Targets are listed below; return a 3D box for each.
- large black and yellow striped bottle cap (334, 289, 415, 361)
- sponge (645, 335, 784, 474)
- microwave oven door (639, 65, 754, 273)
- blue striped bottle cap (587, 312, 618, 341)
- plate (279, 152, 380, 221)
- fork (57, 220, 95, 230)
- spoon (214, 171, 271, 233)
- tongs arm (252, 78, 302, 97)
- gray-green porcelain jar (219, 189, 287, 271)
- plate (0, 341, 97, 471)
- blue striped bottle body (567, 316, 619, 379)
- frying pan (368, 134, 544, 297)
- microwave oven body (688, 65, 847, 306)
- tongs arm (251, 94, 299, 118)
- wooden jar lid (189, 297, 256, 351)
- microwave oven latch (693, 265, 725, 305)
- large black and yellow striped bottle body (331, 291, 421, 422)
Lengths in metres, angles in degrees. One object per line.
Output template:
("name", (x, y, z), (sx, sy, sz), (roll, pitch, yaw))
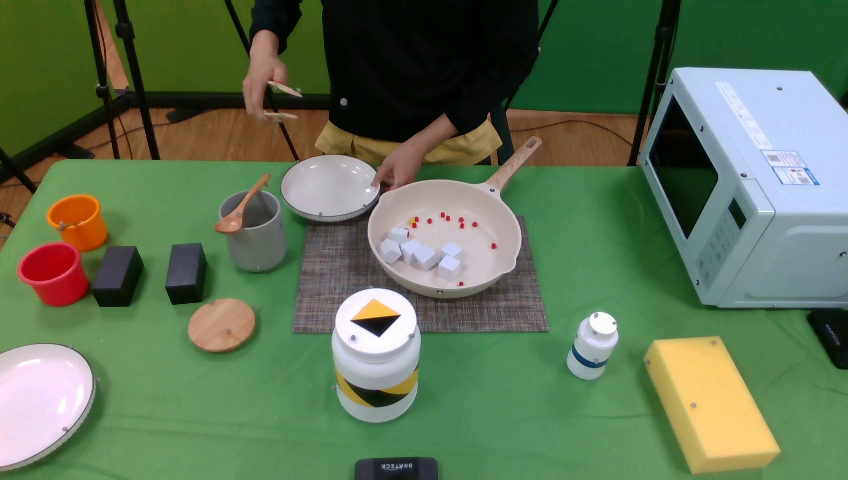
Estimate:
("large black and yellow striped bottle cap", (-0.069, 0.117, 0.850), (0.115, 0.019, 0.114), (2, 45, -2))
("sponge", (0.449, 0.253, 0.956), (0.118, 0.061, 0.205), (-4, 46, -7))
("microwave oven door", (0.522, -0.147, 1.193), (0.039, 0.245, 0.353), (0, 47, -3))
("blue striped bottle cap", (0.279, 0.134, 0.947), (0.044, 0.021, 0.044), (2, 45, -2))
("plate", (-0.196, -0.107, 1.269), (0.208, 0.039, 0.206), (2, 45, -2))
("fork", (-0.624, -0.027, 1.086), (0.028, 0.207, 0.018), (-2, 91, -17))
("spoon", (-0.312, -0.070, 1.070), (0.041, 0.022, 0.193), (9, 43, 10))
("tongs arm", (-0.271, -0.263, 1.086), (0.026, 0.051, 0.382), (5, 17, -24))
("gray-green porcelain jar", (-0.310, -0.014, 1.113), (0.106, 0.127, 0.105), (2, 46, -2))
("plate", (-0.599, 0.247, 0.904), (0.209, 0.038, 0.208), (2, 47, -2))
("blue striped bottle body", (0.276, 0.168, 0.984), (0.063, 0.121, 0.062), (2, 46, -2))
("frying pan", (0.104, -0.069, 1.205), (0.305, 0.103, 0.487), (32, 61, 23))
("microwave oven body", (0.669, -0.111, 1.176), (0.326, 0.261, 0.439), (0, 46, -3))
("tongs arm", (-0.275, -0.240, 1.091), (0.028, 0.028, 0.385), (1, 14, -23))
("wooden jar lid", (-0.342, 0.145, 1.033), (0.108, 0.021, 0.107), (2, 45, -2))
("microwave oven latch", (0.523, 0.081, 1.116), (0.030, 0.029, 0.078), (2, 46, -1))
("large black and yellow striped bottle body", (-0.071, 0.175, 0.911), (0.131, 0.185, 0.130), (2, 47, -2))
